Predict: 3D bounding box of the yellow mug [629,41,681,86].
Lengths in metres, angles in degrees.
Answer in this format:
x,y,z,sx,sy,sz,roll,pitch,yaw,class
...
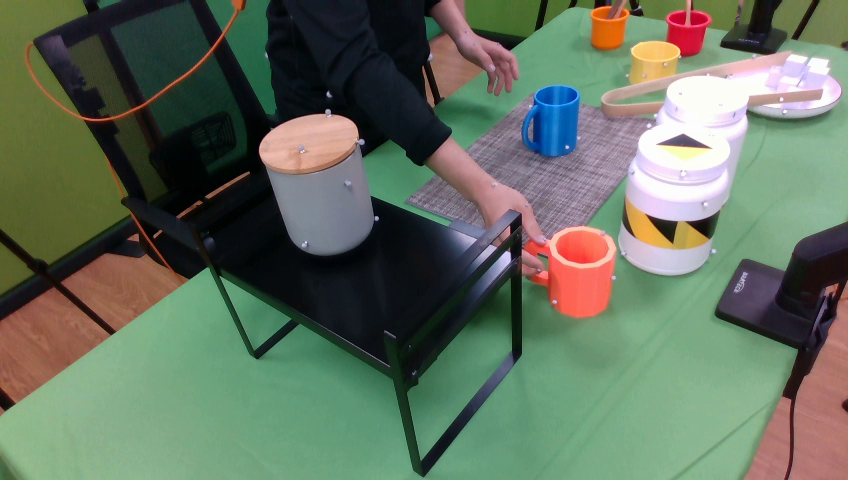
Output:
x,y,z,sx,sy,sz,roll,pitch,yaw,class
0.495,-0.389,1.321,0.100,0.064,0.130,-14,40,-6,yellow mug

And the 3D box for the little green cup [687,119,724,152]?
x,y,z,sx,sy,sz,roll,pitch,yaw,class
0.513,-0.191,1.109,0.061,0.039,0.061,-5,40,5,little green cup

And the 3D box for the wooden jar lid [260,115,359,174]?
x,y,z,sx,sy,sz,roll,pitch,yaw,class
-0.124,-0.101,0.662,0.108,0.021,0.108,-4,41,4,wooden jar lid

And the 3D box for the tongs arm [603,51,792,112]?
x,y,z,sx,sy,sz,roll,pitch,yaw,class
0.552,-0.320,1.224,0.384,0.027,0.050,-11,44,7,tongs arm

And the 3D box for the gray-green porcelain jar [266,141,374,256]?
x,y,z,sx,sy,sz,roll,pitch,yaw,class
-0.117,-0.054,0.703,0.106,0.127,0.105,-4,40,4,gray-green porcelain jar

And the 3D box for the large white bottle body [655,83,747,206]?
x,y,z,sx,sy,sz,roll,pitch,yaw,class
0.430,-0.148,0.959,0.130,0.185,0.130,-4,41,4,large white bottle body

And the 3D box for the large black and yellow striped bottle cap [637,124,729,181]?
x,y,z,sx,sy,sz,roll,pitch,yaw,class
0.346,-0.119,0.810,0.115,0.019,0.114,-5,41,5,large black and yellow striped bottle cap

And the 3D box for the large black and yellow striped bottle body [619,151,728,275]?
x,y,z,sx,sy,sz,roll,pitch,yaw,class
0.354,-0.056,0.865,0.131,0.185,0.130,-4,41,4,large black and yellow striped bottle body

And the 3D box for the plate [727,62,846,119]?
x,y,z,sx,sy,sz,roll,pitch,yaw,class
0.710,-0.292,1.198,0.207,0.039,0.206,-4,40,4,plate

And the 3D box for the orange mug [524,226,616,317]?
x,y,z,sx,sy,sz,roll,pitch,yaw,class
0.201,0.039,0.845,0.125,0.101,0.083,18,47,21,orange mug

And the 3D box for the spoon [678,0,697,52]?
x,y,z,sx,sy,sz,roll,pitch,yaw,class
0.614,-0.526,1.402,0.041,0.022,0.193,3,86,11,spoon

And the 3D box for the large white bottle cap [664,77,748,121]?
x,y,z,sx,sy,sz,roll,pitch,yaw,class
0.421,-0.212,0.905,0.115,0.018,0.114,-4,40,4,large white bottle cap

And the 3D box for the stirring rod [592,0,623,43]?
x,y,z,sx,sy,sz,roll,pitch,yaw,class
0.460,-0.557,1.461,0.014,0.176,0.006,35,11,23,stirring rod

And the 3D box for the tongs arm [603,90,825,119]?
x,y,z,sx,sy,sz,roll,pitch,yaw,class
0.546,-0.262,1.163,0.386,0.028,0.028,-1,50,18,tongs arm

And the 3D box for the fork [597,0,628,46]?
x,y,z,sx,sy,sz,roll,pitch,yaw,class
0.479,-0.558,1.455,0.028,0.019,0.207,35,100,38,fork

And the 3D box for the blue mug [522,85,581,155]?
x,y,z,sx,sy,sz,roll,pitch,yaw,class
0.233,-0.218,1.127,0.117,0.106,0.081,-23,43,-16,blue mug
